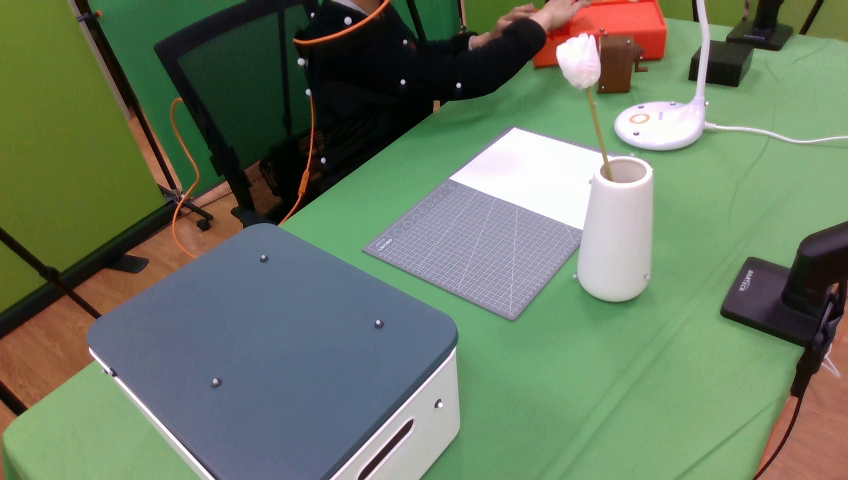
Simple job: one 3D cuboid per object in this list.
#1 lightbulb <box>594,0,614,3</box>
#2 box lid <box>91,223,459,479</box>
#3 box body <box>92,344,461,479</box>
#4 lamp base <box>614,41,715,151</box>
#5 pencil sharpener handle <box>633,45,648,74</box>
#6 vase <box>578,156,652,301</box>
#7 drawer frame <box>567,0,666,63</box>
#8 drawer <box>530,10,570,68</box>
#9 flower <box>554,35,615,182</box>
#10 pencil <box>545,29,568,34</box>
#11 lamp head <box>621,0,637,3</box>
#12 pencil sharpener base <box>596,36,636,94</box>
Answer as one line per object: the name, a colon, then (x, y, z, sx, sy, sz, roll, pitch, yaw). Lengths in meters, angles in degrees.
lightbulb: (0.305, -0.437, 0.977, 0.060, 0.107, 0.059, 12, 45, -11)
box lid: (-0.174, 0.103, 0.666, 0.368, 0.015, 0.264, 24, 48, 35)
box body: (-0.162, 0.170, 0.708, 0.361, 0.161, 0.255, 25, 50, 34)
lamp base: (0.449, -0.277, 1.106, 0.179, 0.181, 0.160, 1, 41, 9)
pencil sharpener handle: (0.454, -0.378, 1.262, 0.030, 0.068, 0.036, 2, 47, 13)
vase: (0.261, -0.011, 0.812, 0.098, 0.201, 0.097, -4, 40, 4)
drawer frame: (0.448, -0.497, 1.443, 0.213, 0.083, 0.201, 0, 40, 10)
drawer: (0.363, -0.493, 1.458, 0.211, 0.073, 0.194, -1, 40, 10)
flower: (0.237, -0.083, 0.774, 0.044, 0.363, 0.038, -22, 26, 6)
pencil: (0.320, -0.502, 1.456, 0.012, 0.012, 0.193, -10, 20, 0)
lamp head: (0.319, -0.453, 0.962, 0.113, 0.123, 0.112, 20, 33, -13)
pencil sharpener base: (0.405, -0.369, 1.280, 0.076, 0.107, 0.061, 2, 41, 13)
